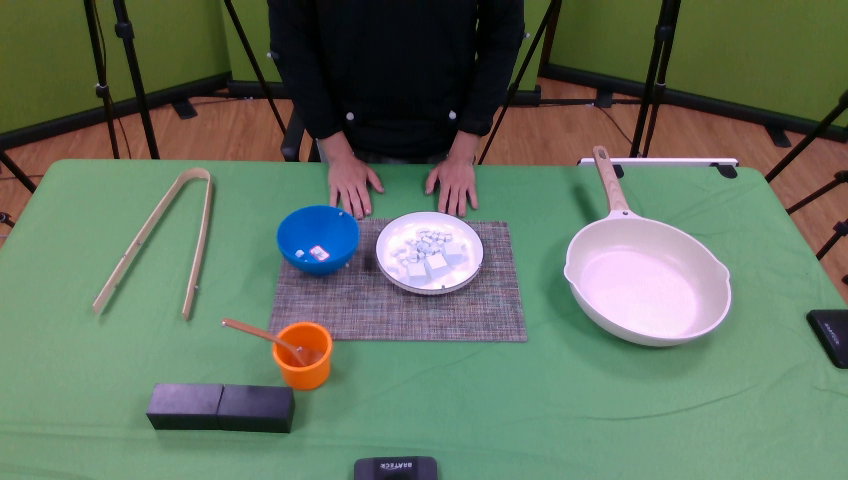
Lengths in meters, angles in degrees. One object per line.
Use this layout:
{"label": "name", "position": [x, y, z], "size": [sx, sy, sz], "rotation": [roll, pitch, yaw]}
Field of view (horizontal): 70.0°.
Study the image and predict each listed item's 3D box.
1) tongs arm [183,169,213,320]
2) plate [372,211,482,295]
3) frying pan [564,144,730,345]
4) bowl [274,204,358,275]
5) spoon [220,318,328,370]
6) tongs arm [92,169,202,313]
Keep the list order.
{"label": "tongs arm", "position": [-0.436, -0.005, 1.166], "size": [0.028, 0.028, 0.385], "rotation": [-5, 46, -6]}
{"label": "plate", "position": [0.005, 0.028, 1.155], "size": [0.208, 0.039, 0.206], "rotation": [3, 46, -2]}
{"label": "frying pan", "position": [0.396, -0.008, 1.179], "size": [0.307, 0.103, 0.484], "rotation": [0, 55, -5]}
{"label": "bowl", "position": [-0.197, 0.012, 1.126], "size": [0.151, 0.077, 0.150], "rotation": [2, 46, -2]}
{"label": "spoon", "position": [-0.229, 0.158, 0.940], "size": [0.021, 0.195, 0.041], "rotation": [-36, 39, 22]}
{"label": "tongs arm", "position": [-0.518, -0.012, 1.160], "size": [0.051, 0.026, 0.382], "rotation": [7, 45, 1]}
